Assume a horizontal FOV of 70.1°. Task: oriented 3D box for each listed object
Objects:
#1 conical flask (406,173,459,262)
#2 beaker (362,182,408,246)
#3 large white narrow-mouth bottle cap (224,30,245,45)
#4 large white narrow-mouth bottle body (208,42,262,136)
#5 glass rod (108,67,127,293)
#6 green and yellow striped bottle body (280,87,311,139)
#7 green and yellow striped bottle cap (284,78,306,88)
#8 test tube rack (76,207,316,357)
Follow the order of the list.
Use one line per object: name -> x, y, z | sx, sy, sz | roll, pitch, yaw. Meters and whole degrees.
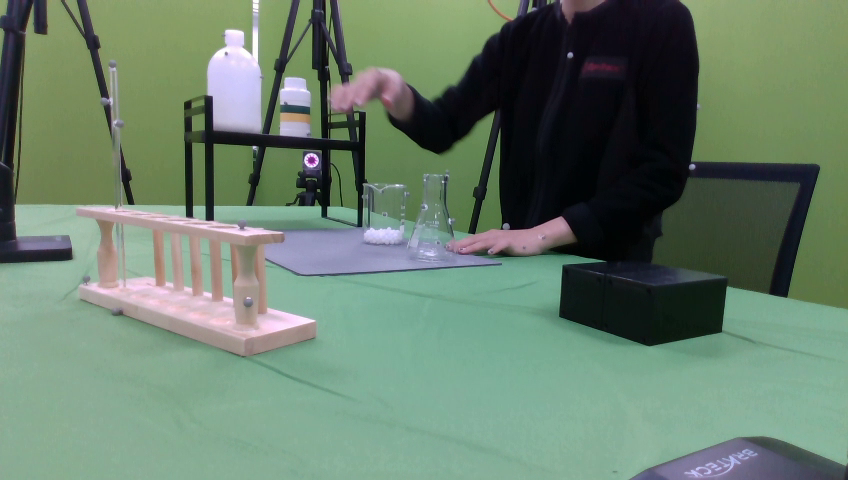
conical flask -> 0.014, -0.033, 0.851 | 0.075, 0.122, 0.075 | 2, 7, 0
beaker -> -0.066, -0.043, 0.996 | 0.074, 0.100, 0.084 | 3, 8, 6
large white narrow-mouth bottle cap -> -0.365, -0.389, 1.166 | 0.038, 0.024, 0.037 | 3, 9, 0
large white narrow-mouth bottle body -> -0.369, -0.304, 1.181 | 0.102, 0.194, 0.101 | 3, 9, 0
glass rod -> -0.268, -0.050, 0.527 | 0.008, 0.199, 0.008 | -1, 3, 0
green and yellow striped bottle body -> -0.269, -0.274, 1.266 | 0.063, 0.119, 0.063 | 3, 7, 0
green and yellow striped bottle cap -> -0.268, -0.325, 1.259 | 0.045, 0.020, 0.045 | 5, 8, 0
test tube rack -> -0.196, 0.023, 0.500 | 0.241, 0.085, 0.067 | 8, 9, 36
